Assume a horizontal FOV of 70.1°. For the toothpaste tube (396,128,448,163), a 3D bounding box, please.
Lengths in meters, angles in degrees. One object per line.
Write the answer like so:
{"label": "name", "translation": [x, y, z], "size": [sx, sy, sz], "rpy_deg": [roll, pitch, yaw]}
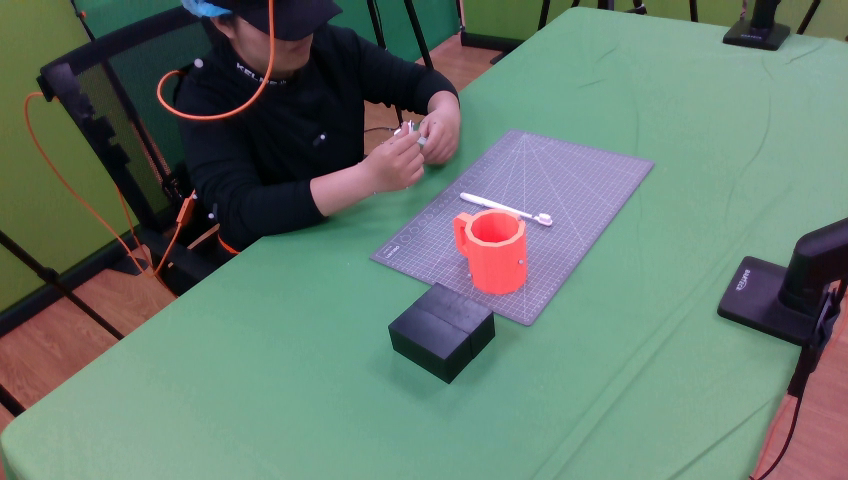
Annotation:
{"label": "toothpaste tube", "translation": [-0.007, -0.172, 1.099], "size": [0.055, 0.166, 0.034], "rpy_deg": [-20, 77, 19]}

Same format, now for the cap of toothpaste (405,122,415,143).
{"label": "cap of toothpaste", "translation": [-0.024, -0.180, 1.009], "size": [0.011, 0.037, 0.037], "rpy_deg": [5, 42, 8]}

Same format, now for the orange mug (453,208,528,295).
{"label": "orange mug", "translation": [0.095, 0.009, 0.894], "size": [0.125, 0.101, 0.084], "rpy_deg": [32, 55, 33]}

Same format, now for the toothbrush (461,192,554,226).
{"label": "toothbrush", "translation": [0.138, -0.056, 1.026], "size": [0.180, 0.017, 0.014], "rpy_deg": [20, 60, 32]}
